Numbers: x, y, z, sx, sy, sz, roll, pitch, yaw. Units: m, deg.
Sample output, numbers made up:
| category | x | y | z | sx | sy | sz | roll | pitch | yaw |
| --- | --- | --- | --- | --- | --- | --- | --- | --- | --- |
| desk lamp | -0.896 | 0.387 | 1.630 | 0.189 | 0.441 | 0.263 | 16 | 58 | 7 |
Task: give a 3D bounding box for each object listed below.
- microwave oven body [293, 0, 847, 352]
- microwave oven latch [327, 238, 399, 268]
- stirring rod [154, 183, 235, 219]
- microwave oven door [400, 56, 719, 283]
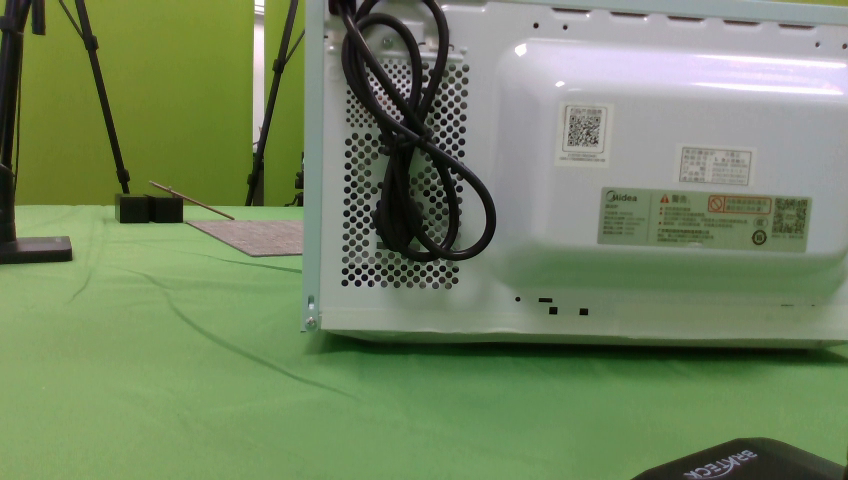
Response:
| category | x | y | z | sx | sy | sz | roll | pitch | yaw |
| --- | --- | --- | --- | --- | --- | --- | --- | --- | --- |
| microwave oven body | 0.122 | -0.055 | 0.550 | 0.442 | 0.260 | 0.325 | 3 | 7 | -5 |
| microwave oven latch | -0.069 | 0.015 | 0.694 | 0.079 | 0.029 | 0.030 | 3 | 7 | -3 |
| stirring rod | -0.472 | -0.079 | 1.252 | 0.177 | 0.006 | 0.014 | 27 | 4 | -35 |
| microwave oven door | 0.155 | -0.077 | 0.697 | 0.356 | 0.243 | 0.039 | 2 | 8 | -5 |
